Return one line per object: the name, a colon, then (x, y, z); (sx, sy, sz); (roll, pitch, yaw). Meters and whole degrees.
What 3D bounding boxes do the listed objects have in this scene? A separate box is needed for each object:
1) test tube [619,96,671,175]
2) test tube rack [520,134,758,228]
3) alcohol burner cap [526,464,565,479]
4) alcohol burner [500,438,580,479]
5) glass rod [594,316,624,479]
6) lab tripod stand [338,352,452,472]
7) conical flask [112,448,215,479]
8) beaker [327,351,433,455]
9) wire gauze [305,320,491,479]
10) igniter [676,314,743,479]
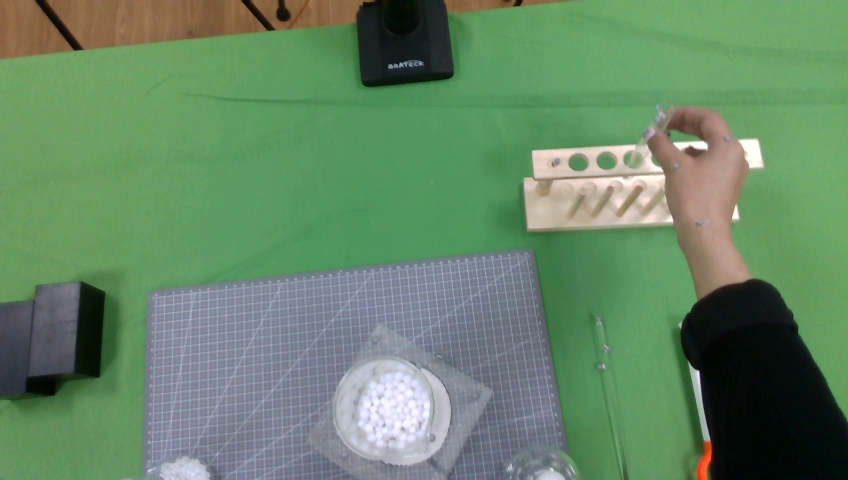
test tube: (0.219, -0.100, 0.611); (0.017, 0.151, 0.017); (-1, 73, 4)
test tube rack: (0.237, -0.064, 0.685); (0.242, 0.086, 0.066); (-3, 72, 1)
alcohol burner cap: (0.111, 0.218, 0.546); (0.034, 0.048, 0.033); (1, 66, -1)
alcohol burner: (0.112, 0.230, 0.580); (0.078, 0.120, 0.077); (-1, 72, 4)
glass rod: (0.200, 0.181, 0.651); (0.008, 0.008, 0.198); (-4, 75, 0)
lab tripod stand: (-0.022, 0.169, 0.592); (0.148, 0.132, 0.147); (-1, 74, 3)
conical flask: (-0.257, 0.241, 0.582); (0.075, 0.122, 0.075); (0, 72, 2)
beaker: (-0.027, 0.134, 0.484); (0.083, 0.101, 0.074); (43, 79, 13)
wire gauze: (-0.022, 0.151, 0.529); (0.125, 0.011, 0.121); (30, 79, 9)
igniter: (0.303, 0.214, 0.628); (0.057, 0.025, 0.274); (-1, 73, -10)
